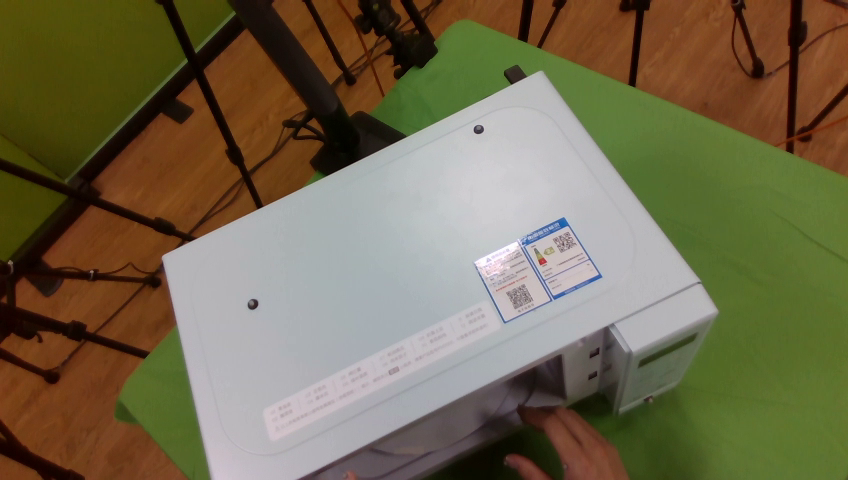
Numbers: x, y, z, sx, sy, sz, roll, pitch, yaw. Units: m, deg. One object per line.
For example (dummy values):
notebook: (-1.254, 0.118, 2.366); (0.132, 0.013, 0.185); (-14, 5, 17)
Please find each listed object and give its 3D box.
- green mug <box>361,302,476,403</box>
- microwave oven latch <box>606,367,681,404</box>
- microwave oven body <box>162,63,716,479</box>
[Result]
green mug: (-0.002, 0.129, 0.659); (0.124, 0.106, 0.092); (18, 67, 22)
microwave oven latch: (0.243, 0.153, 0.674); (0.079, 0.030, 0.030); (-25, 61, 1)
microwave oven body: (0.006, 0.074, 0.661); (0.442, 0.262, 0.322); (-27, 61, 0)
